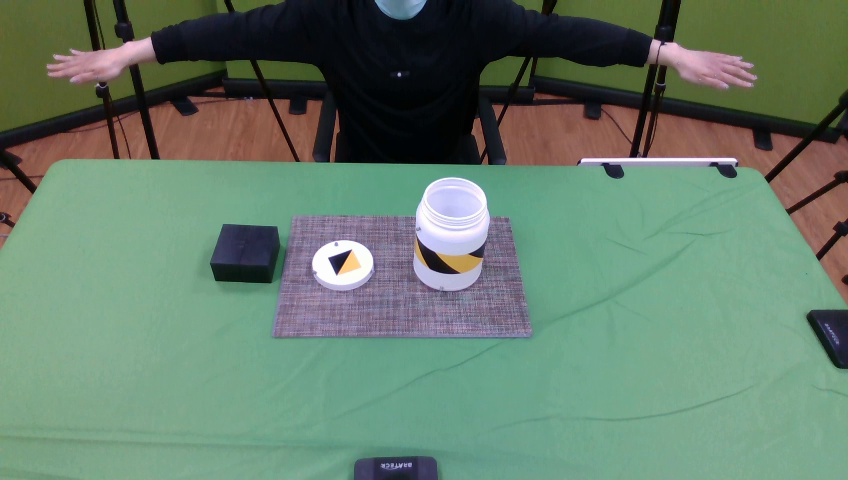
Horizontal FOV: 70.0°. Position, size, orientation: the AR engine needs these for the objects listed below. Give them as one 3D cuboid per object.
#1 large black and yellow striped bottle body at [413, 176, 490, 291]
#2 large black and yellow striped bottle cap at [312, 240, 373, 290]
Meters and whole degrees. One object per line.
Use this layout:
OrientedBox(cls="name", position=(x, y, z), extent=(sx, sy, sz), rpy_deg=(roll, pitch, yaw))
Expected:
OrientedBox(cls="large black and yellow striped bottle body", position=(0.049, -0.011, 1.091), extent=(0.131, 0.185, 0.130), rpy_deg=(2, 46, -2))
OrientedBox(cls="large black and yellow striped bottle cap", position=(-0.153, 0.046, 1.140), extent=(0.115, 0.019, 0.114), rpy_deg=(3, 47, -3))
